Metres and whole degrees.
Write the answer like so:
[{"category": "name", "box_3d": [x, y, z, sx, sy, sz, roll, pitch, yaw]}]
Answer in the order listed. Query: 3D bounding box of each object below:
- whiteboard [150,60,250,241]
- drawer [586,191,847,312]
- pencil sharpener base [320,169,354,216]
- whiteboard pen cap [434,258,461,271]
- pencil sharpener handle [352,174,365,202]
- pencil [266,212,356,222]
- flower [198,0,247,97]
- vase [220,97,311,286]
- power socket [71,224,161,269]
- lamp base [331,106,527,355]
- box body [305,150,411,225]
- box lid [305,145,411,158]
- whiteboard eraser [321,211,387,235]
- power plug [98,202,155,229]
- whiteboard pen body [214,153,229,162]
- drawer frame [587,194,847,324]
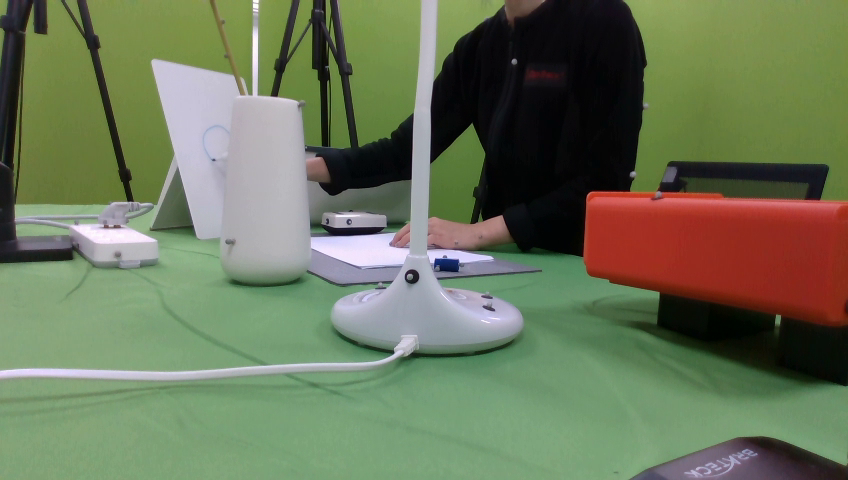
[{"category": "whiteboard", "box_3d": [-0.408, -0.139, 1.093, 0.143, 0.305, 0.218, -15, -1, 26]}, {"category": "drawer", "box_3d": [0.281, 0.001, 0.513, 0.195, 0.073, 0.210, -1, 8, -29]}, {"category": "pencil sharpener base", "box_3d": [-0.207, -0.113, 1.439, 0.077, 0.107, 0.061, 2, 6, -11]}, {"category": "whiteboard pen cap", "box_3d": [0.029, 0.031, 0.770, 0.033, 0.018, 0.018, 4, 8, 8]}, {"category": "pencil sharpener handle", "box_3d": [-0.156, -0.125, 1.450, 0.031, 0.068, 0.036, 1, 19, -11]}, {"category": "pencil", "box_3d": [-0.244, -0.049, 1.318, 0.195, 0.012, 0.012, 4, 7, -12]}, {"category": "flower", "box_3d": [-0.187, -0.133, 0.648, 0.038, 0.362, 0.044, -1, 21, 43]}, {"category": "vase", "box_3d": [-0.172, -0.052, 0.662, 0.098, 0.200, 0.098, 3, 9, 0]}, {"category": "power socket", "box_3d": [-0.408, 0.004, 0.793, 0.072, 0.032, 0.225, -2, 8, -38]}, {"category": "lamp base", "box_3d": [0.006, -0.012, 0.478, 0.161, 0.180, 0.179, 2, 10, 2]}, {"category": "box body", "box_3d": [-0.230, -0.126, 1.372, 0.366, 0.160, 0.253, -2, 9, -33]}, {"category": "box lid", "box_3d": [-0.228, -0.200, 1.361, 0.373, 0.015, 0.262, -1, 8, -33]}, {"category": "whiteboard eraser", "box_3d": [-0.128, -0.031, 1.108, 0.113, 0.042, 0.055, -4, 8, -38]}, {"category": "power plug", "box_3d": [-0.416, -0.027, 0.848, 0.073, 0.052, 0.035, 0, 8, -28]}, {"category": "whiteboard pen body", "box_3d": [-0.293, -0.147, 1.016, 0.140, 0.017, 0.017, -11, 4, 16]}, {"category": "drawer frame", "box_3d": [0.285, 0.004, 0.508, 0.203, 0.082, 0.212, -1, 6, -29]}]
